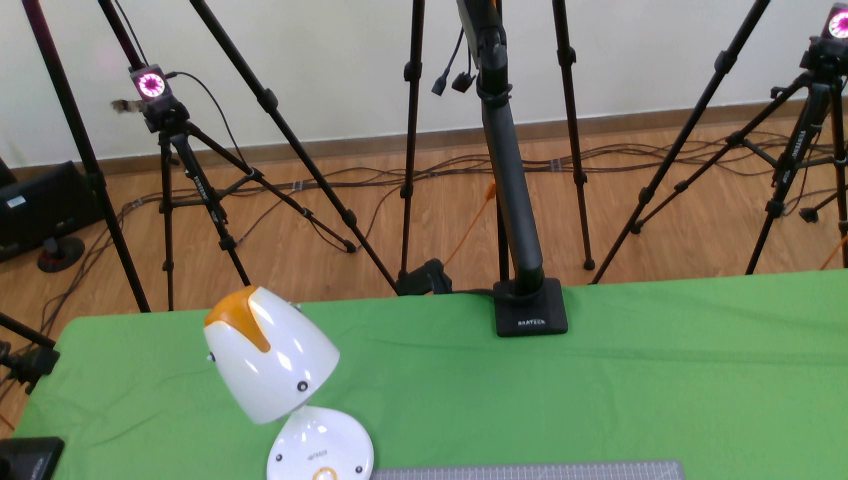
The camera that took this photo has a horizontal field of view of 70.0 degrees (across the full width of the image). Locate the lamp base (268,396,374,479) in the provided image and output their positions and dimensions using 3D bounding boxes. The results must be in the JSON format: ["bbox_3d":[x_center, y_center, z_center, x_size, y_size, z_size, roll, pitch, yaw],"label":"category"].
[{"bbox_3d":[-0.170,0.263,0.857,0.161,0.182,0.177,-27,48,-15],"label":"lamp base"}]

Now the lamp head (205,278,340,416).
[{"bbox_3d":[-0.165,0.099,0.624,0.112,0.123,0.112,-34,11,8],"label":"lamp head"}]
